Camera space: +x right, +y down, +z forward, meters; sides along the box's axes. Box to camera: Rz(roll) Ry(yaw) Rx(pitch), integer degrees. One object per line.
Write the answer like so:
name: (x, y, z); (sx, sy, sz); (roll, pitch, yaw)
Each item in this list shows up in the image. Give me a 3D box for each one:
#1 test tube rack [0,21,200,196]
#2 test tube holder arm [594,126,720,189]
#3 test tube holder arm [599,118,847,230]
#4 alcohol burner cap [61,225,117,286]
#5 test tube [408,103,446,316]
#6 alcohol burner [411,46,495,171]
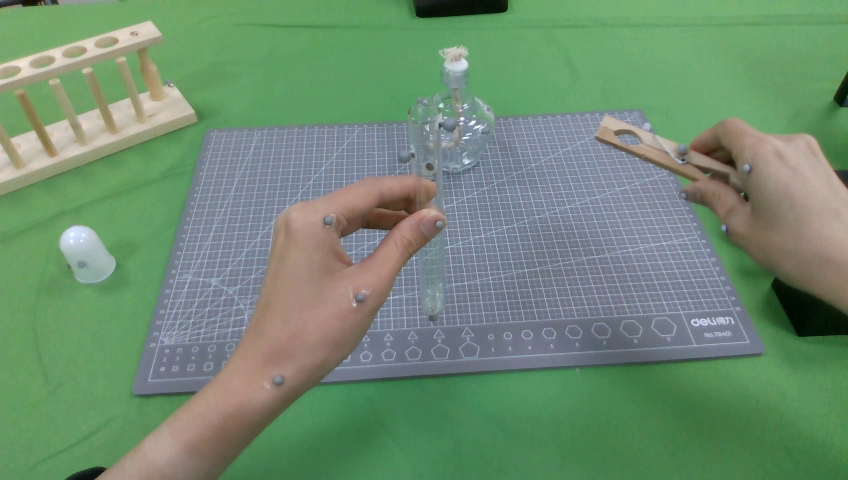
test tube rack: (-0.351, -0.119, 0.570); (0.242, 0.086, 0.066); (-28, 53, -23)
test tube holder arm: (0.157, -0.056, 0.407); (0.087, 0.015, 0.010); (27, 99, 21)
test tube holder arm: (0.196, -0.042, 0.390); (0.177, 0.015, 0.013); (26, 98, 22)
alcohol burner cap: (-0.270, 0.010, 0.483); (0.034, 0.048, 0.033); (0, 47, 0)
test tube: (0.003, -0.007, 0.327); (0.017, 0.151, 0.017); (-1, 47, 2)
alcohol burner: (0.027, -0.121, 0.547); (0.078, 0.120, 0.077); (1, 49, -1)
